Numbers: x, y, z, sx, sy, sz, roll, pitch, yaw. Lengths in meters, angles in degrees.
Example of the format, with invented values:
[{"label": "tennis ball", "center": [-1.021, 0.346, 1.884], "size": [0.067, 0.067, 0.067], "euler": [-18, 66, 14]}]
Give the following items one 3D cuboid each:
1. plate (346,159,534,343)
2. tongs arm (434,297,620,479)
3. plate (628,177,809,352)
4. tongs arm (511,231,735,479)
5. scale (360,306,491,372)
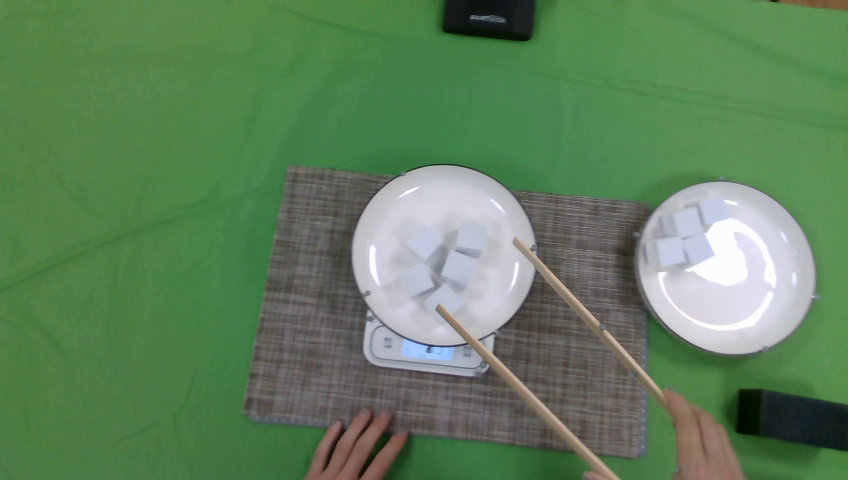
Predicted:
[{"label": "plate", "center": [0.017, 0.012, 0.682], "size": [0.209, 0.038, 0.208], "euler": [0, 78, -1]}, {"label": "tongs arm", "center": [0.152, 0.184, 0.534], "size": [0.386, 0.028, 0.028], "euler": [43, 70, 9]}, {"label": "plate", "center": [0.342, 0.029, 0.717], "size": [0.208, 0.039, 0.206], "euler": [0, 77, -1]}, {"label": "tongs arm", "center": [0.194, 0.148, 0.547], "size": [0.051, 0.026, 0.383], "euler": [-39, 79, -15]}, {"label": "scale", "center": [0.009, 0.047, 0.708], "size": [0.149, 0.031, 0.200], "euler": [7, 78, 0]}]
